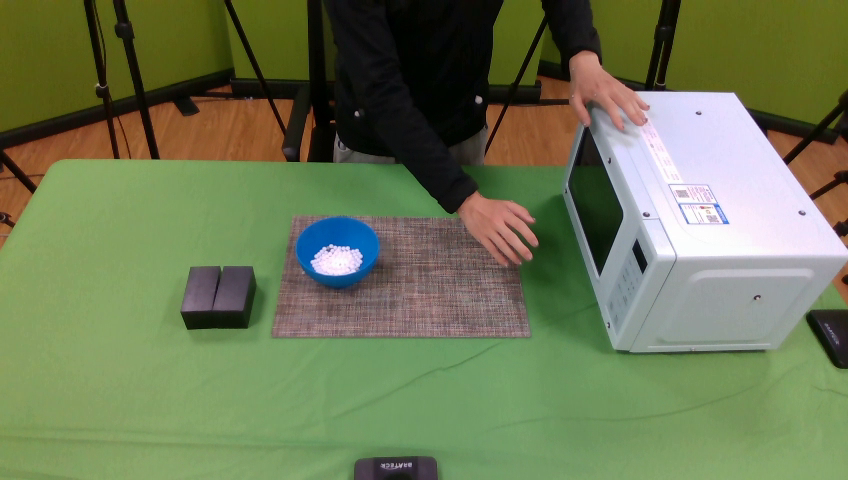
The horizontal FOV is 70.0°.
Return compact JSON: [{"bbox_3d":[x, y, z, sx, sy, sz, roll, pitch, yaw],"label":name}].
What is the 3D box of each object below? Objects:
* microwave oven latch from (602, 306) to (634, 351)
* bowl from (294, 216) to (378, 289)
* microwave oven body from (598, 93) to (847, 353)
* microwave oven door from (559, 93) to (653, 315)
[{"bbox_3d":[0.332,0.153,1.044,0.030,0.029,0.078,0,45,-3],"label":"microwave oven latch"},{"bbox_3d":[-0.158,0.036,1.110,0.151,0.077,0.150,3,45,-2],"label":"bowl"},{"bbox_3d":[0.475,-0.041,1.109,0.326,0.261,0.438,-1,45,-4],"label":"microwave oven body"},{"bbox_3d":[0.327,-0.074,1.123,0.039,0.245,0.353,-1,46,-5],"label":"microwave oven door"}]
